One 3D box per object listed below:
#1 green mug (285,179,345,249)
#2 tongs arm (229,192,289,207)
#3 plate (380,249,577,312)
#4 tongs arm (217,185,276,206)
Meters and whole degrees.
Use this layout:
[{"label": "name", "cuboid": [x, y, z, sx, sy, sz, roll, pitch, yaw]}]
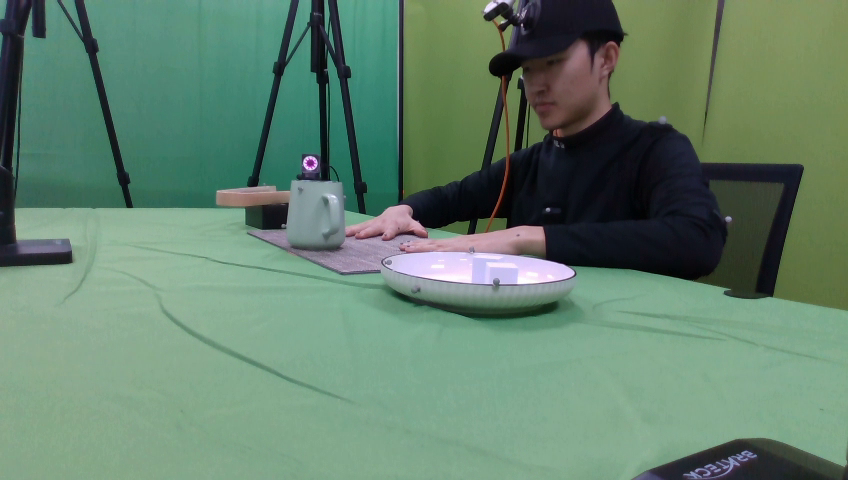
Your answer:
[{"label": "green mug", "cuboid": [-0.161, -0.040, 0.936, 0.093, 0.105, 0.124, -2, 8, -32]}, {"label": "tongs arm", "cuboid": [-0.284, -0.092, 1.283, 0.028, 0.028, 0.388, 11, 9, 16]}, {"label": "plate", "cuboid": [0.056, 0.042, 0.646, 0.209, 0.038, 0.209, 2, 7, 0]}, {"label": "tongs arm", "cuboid": [-0.361, -0.098, 1.294, 0.051, 0.026, 0.385, 6, 7, 5]}]
